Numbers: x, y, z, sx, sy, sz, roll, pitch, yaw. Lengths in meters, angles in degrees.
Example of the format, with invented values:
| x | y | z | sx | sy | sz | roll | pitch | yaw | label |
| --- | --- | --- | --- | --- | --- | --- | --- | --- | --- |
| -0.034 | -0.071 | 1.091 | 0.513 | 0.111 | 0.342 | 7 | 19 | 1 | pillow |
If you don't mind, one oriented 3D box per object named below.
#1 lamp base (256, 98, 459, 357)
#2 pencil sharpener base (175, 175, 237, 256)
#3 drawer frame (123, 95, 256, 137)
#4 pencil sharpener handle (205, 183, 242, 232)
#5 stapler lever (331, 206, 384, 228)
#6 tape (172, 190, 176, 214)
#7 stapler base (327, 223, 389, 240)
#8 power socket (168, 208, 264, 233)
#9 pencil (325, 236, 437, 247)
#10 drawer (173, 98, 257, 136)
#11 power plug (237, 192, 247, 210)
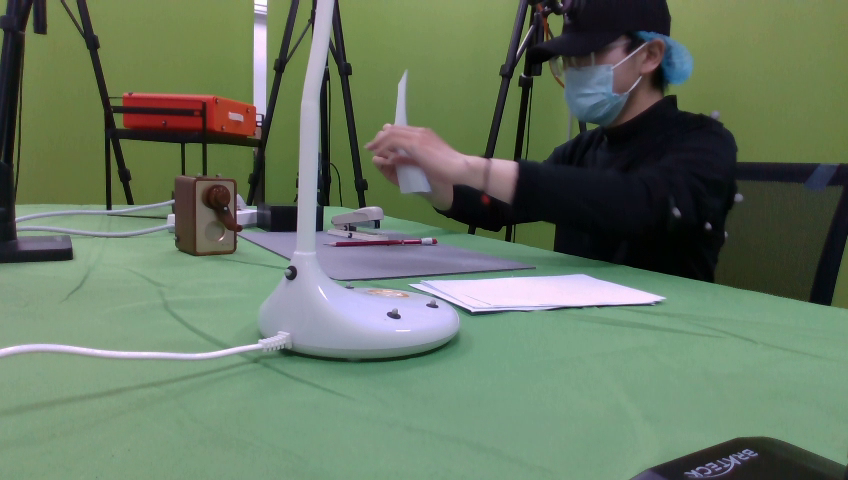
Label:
| x | y | z | sx | sy | sz | roll | pitch | yaw | label |
| --- | --- | --- | --- | --- | --- | --- | --- | --- | --- |
| -0.055 | -0.013 | 0.463 | 0.160 | 0.180 | 0.180 | 6 | 11 | 27 | lamp base |
| -0.304 | -0.035 | 0.847 | 0.062 | 0.107 | 0.076 | -4 | 10 | -42 | pencil sharpener base |
| -0.524 | -0.281 | 1.376 | 0.213 | 0.082 | 0.202 | 3 | 8 | 8 | drawer frame |
| -0.265 | -0.043 | 0.812 | 0.036 | 0.068 | 0.030 | -32 | 28 | -35 | pencil sharpener handle |
| -0.118 | -0.043 | 1.070 | 0.117 | 0.040 | 0.027 | 7 | 8 | 41 | stapler lever |
| -0.515 | -0.087 | 1.388 | 0.117 | 0.052 | 0.117 | 3 | 7 | 0 | tape |
| -0.117 | -0.018 | 1.073 | 0.130 | 0.024 | 0.041 | 7 | 8 | 41 | stapler base |
| -0.381 | -0.038 | 1.129 | 0.072 | 0.032 | 0.227 | 4 | 8 | 17 | power socket |
| -0.066 | 0.003 | 0.979 | 0.195 | 0.012 | 0.012 | -3 | 9 | -25 | pencil |
| -0.518 | -0.279 | 1.376 | 0.211 | 0.073 | 0.195 | 3 | 8 | 9 | drawer |
| -0.386 | -0.071 | 1.204 | 0.072 | 0.052 | 0.035 | 7 | 8 | 26 | power plug |
